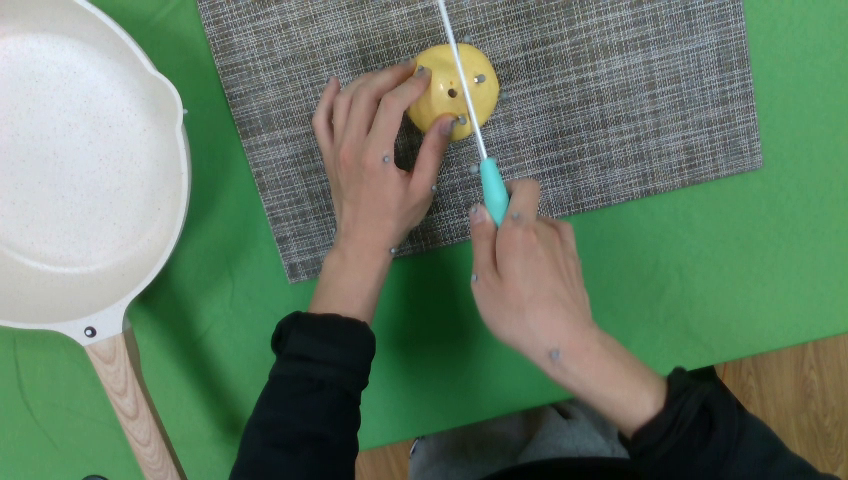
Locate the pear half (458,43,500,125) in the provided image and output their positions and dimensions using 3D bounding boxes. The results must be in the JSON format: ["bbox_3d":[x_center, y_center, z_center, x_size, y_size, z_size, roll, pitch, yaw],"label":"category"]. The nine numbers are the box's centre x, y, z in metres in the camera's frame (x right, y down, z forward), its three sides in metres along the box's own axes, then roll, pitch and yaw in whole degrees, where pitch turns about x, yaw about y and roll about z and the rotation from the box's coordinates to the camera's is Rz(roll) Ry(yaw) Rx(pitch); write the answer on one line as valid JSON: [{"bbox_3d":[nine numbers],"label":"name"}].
[{"bbox_3d":[0.045,-0.127,0.490,0.031,0.087,0.070,-18,99,4],"label":"pear half"}]

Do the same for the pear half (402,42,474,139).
[{"bbox_3d":[0.010,-0.116,0.482,0.056,0.109,0.076,-19,99,8],"label":"pear half"}]

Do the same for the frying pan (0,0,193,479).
[{"bbox_3d":[-0.302,0.027,0.531,0.307,0.102,0.488,-18,95,6],"label":"frying pan"}]

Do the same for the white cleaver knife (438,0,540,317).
[{"bbox_3d":[0.043,-0.075,0.442,0.021,0.065,0.288,-14,105,7],"label":"white cleaver knife"}]
